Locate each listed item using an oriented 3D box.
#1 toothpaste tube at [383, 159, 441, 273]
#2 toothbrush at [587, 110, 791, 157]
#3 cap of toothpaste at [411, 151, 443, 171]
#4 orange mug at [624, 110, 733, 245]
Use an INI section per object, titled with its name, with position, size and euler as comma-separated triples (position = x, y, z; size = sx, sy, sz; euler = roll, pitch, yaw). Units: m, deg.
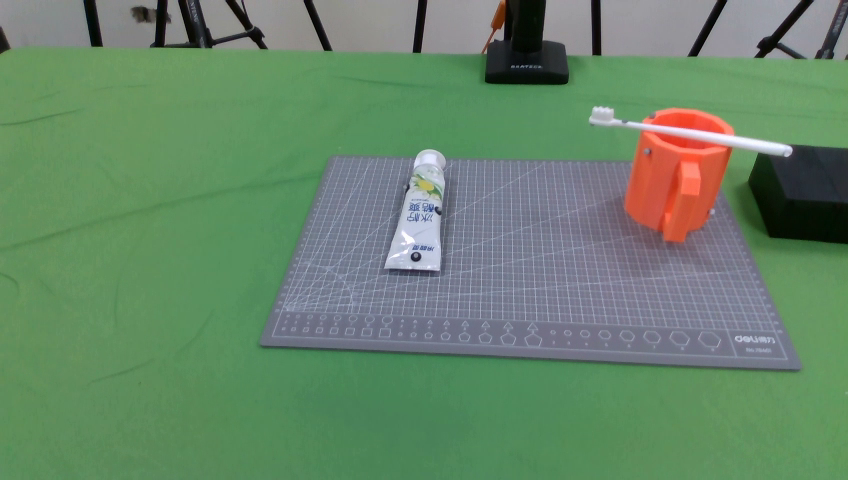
[toothpaste tube]
position = -0.006, -0.029, 0.634
size = 0.055, 0.035, 0.163
euler = -1, 46, 8
[toothbrush]
position = 0.246, -0.101, 0.570
size = 0.181, 0.017, 0.014
euler = 14, 36, 19
[cap of toothpaste]
position = 0.003, -0.085, 0.686
size = 0.037, 0.038, 0.011
euler = 4, 48, 7
[orange mug]
position = 0.251, -0.058, 0.601
size = 0.083, 0.102, 0.125
euler = 7, 38, 11
